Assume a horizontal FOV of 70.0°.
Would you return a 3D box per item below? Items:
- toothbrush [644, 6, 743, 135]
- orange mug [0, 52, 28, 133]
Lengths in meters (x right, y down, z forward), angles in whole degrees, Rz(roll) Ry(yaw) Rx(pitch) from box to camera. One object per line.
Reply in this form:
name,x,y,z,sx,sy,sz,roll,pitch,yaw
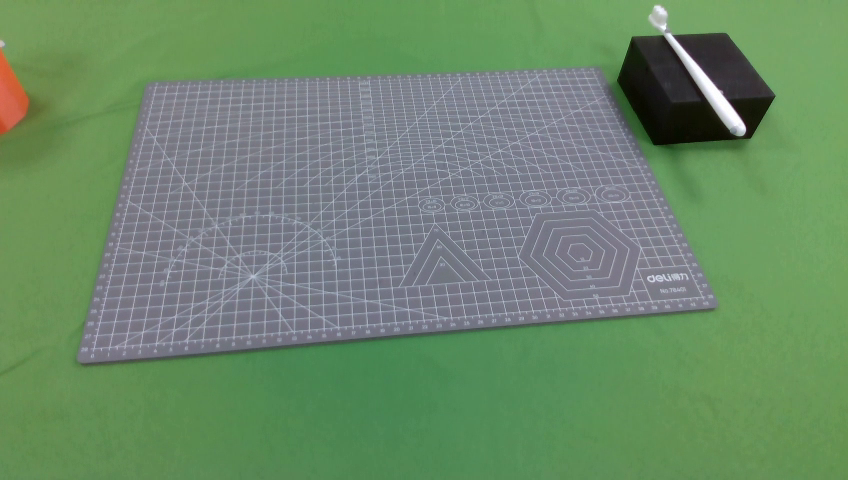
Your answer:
toothbrush,0.242,-0.159,0.549,0.014,0.017,0.180,-5,52,-11
orange mug,-0.413,-0.135,0.496,0.126,0.101,0.083,-34,60,-32
